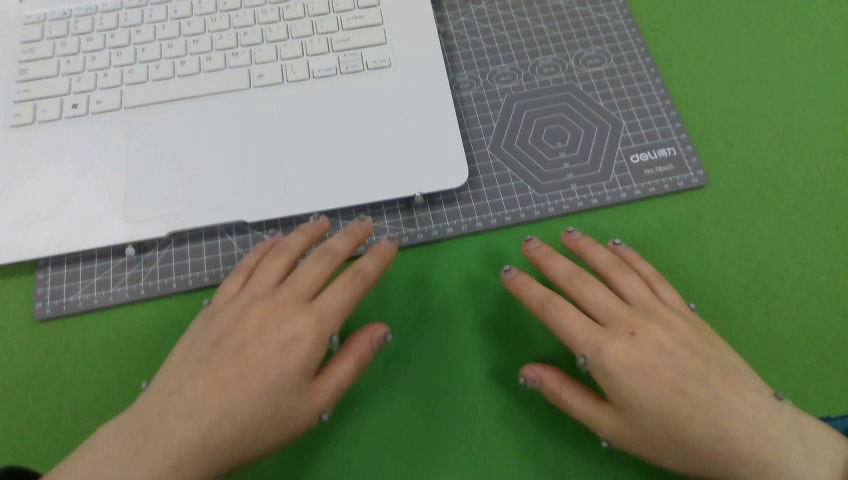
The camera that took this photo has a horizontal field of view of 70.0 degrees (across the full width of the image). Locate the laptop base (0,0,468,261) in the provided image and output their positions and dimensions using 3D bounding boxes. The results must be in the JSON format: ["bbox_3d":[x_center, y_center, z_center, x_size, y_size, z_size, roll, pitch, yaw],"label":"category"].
[{"bbox_3d":[-0.161,-0.112,0.445,0.354,0.023,0.233,-10,69,-3],"label":"laptop base"}]

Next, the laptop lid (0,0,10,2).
[{"bbox_3d":[-0.192,-0.306,0.415,0.357,0.244,0.013,-11,40,-2],"label":"laptop lid"}]
